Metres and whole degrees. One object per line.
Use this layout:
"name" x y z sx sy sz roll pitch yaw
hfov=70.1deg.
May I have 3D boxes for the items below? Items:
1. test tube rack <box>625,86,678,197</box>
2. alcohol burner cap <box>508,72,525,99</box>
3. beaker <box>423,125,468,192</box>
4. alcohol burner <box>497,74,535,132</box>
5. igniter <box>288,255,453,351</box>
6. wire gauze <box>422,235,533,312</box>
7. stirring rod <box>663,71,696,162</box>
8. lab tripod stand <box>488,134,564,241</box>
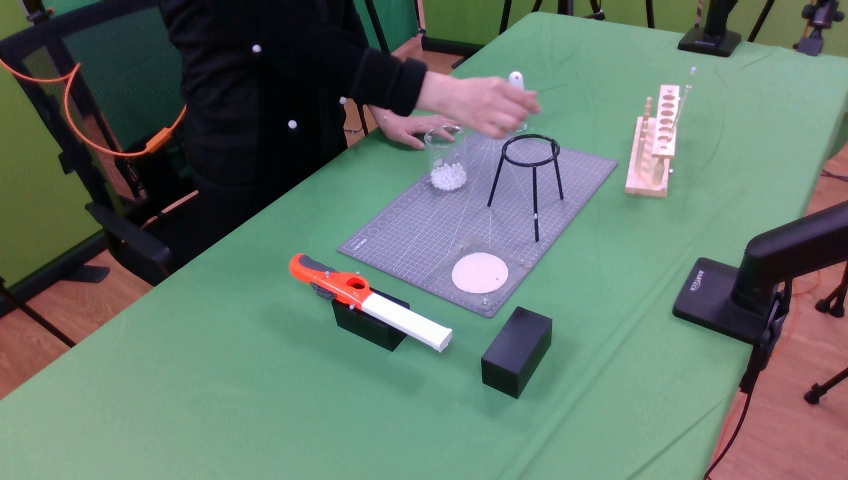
"test tube rack" 0.412 -0.184 1.088 0.066 0.085 0.242 9 43 18
"alcohol burner cap" 0.181 -0.306 1.187 0.034 0.048 0.033 -7 39 6
"beaker" 0.043 -0.144 1.078 0.073 0.100 0.084 28 51 34
"alcohol burner" 0.184 -0.278 1.210 0.078 0.119 0.077 -3 42 3
"igniter" -0.083 0.079 0.818 0.274 0.025 0.057 22 46 27
"wire gauze" 0.082 0.049 0.914 0.120 0.011 0.125 26 52 32
"stirring rod" 0.410 -0.195 0.982 0.014 0.177 0.006 11 50 13
"lab tripod stand" 0.168 -0.092 0.972 0.148 0.132 0.147 -5 41 5
